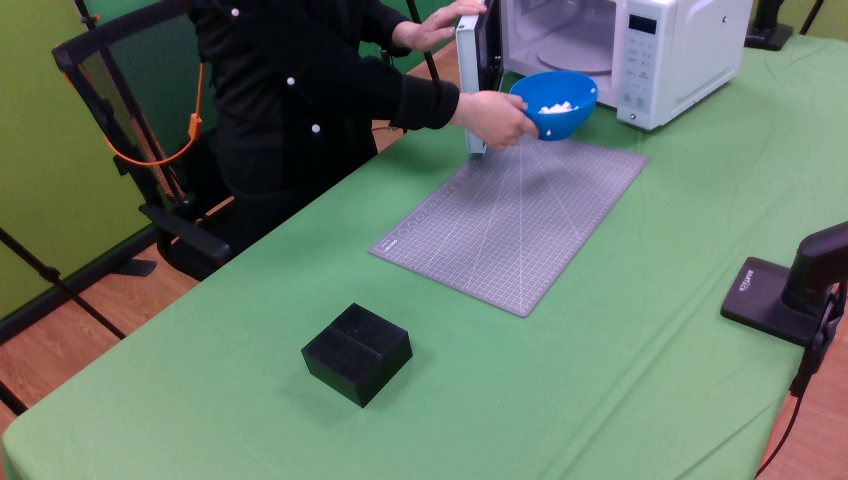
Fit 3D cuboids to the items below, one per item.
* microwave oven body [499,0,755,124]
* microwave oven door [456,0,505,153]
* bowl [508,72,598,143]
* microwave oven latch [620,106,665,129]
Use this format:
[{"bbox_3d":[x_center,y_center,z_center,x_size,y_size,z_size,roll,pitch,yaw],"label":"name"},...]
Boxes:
[{"bbox_3d":[0.402,-0.458,1.259,0.327,0.261,0.437,-33,45,-24],"label":"microwave oven body"},{"bbox_3d":[0.119,-0.373,1.206,0.039,0.245,0.355,2,42,14],"label":"microwave oven door"},{"bbox_3d":[0.224,-0.222,1.052,0.151,0.077,0.150,-6,41,6],"label":"bowl"},{"bbox_3d":[0.413,-0.237,1.146,0.030,0.029,0.078,-32,44,-23],"label":"microwave oven latch"}]
